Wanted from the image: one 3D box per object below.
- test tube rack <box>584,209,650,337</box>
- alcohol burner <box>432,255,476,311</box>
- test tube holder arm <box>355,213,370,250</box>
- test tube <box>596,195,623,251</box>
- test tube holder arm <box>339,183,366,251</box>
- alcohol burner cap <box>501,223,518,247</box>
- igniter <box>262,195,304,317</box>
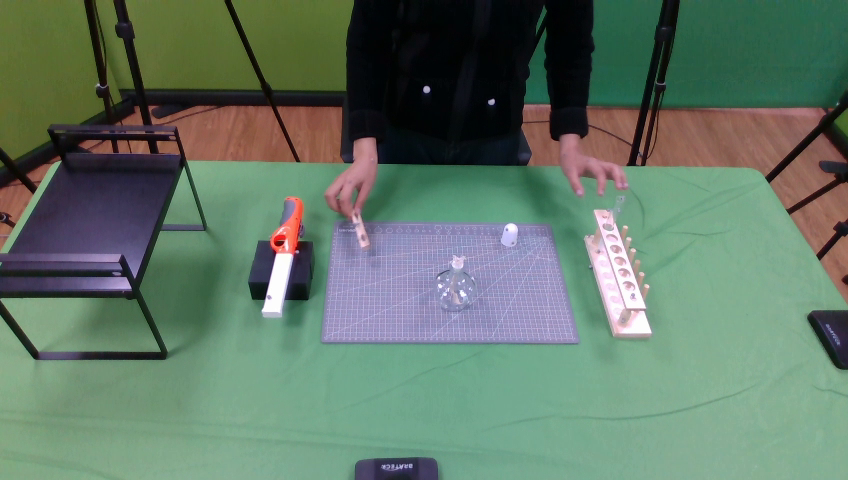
[{"bbox_3d":[0.365,0.056,1.129,0.067,0.085,0.240,1,46,-4],"label":"test tube rack"},{"bbox_3d":[0.055,0.070,1.068,0.078,0.119,0.077,3,45,-3],"label":"alcohol burner"},{"bbox_3d":[-0.121,-0.018,1.167,0.010,0.015,0.087,-14,52,-14],"label":"test tube holder arm"},{"bbox_3d":[0.347,-0.029,1.140,0.017,0.151,0.017,1,52,-1],"label":"test tube"},{"bbox_3d":[-0.141,-0.049,1.193,0.013,0.015,0.177,-15,52,-14],"label":"test tube holder arm"},{"bbox_3d":[0.172,-0.013,1.206,0.034,0.048,0.033,1,46,-1],"label":"alcohol burner cap"},{"bbox_3d":[-0.253,0.020,1.090,0.057,0.025,0.275,0,49,-1],"label":"igniter"}]
